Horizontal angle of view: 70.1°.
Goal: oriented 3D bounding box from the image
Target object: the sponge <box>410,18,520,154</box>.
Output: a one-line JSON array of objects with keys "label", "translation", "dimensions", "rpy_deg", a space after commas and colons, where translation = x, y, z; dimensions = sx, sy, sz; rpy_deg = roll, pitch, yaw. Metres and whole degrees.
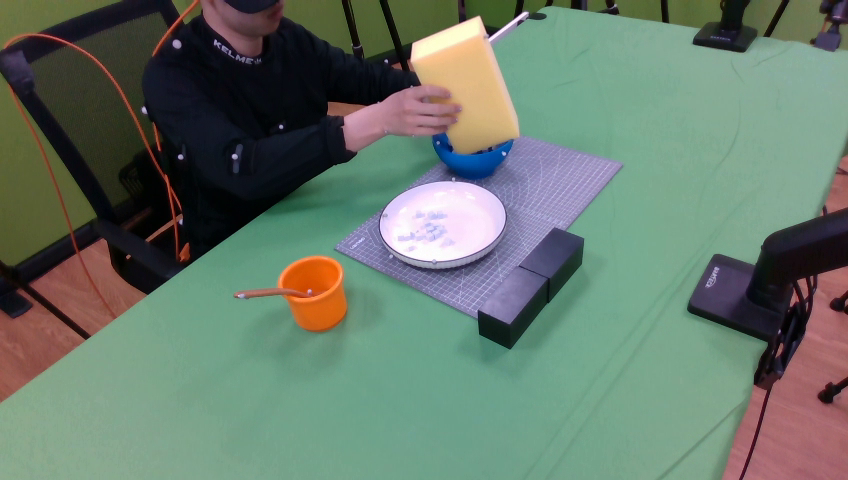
[{"label": "sponge", "translation": [0.073, -0.248, 1.015], "dimensions": [0.118, 0.208, 0.060], "rpy_deg": [-15, 44, 18]}]

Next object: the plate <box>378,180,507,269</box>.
[{"label": "plate", "translation": [0.031, -0.022, 0.974], "dimensions": [0.209, 0.038, 0.208], "rpy_deg": [-4, 40, 4]}]

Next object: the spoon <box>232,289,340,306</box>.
[{"label": "spoon", "translation": [-0.181, 0.074, 0.811], "dimensions": [0.041, 0.195, 0.021], "rpy_deg": [16, 90, 31]}]

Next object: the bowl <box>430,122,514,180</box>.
[{"label": "bowl", "translation": [0.090, -0.162, 1.098], "dimensions": [0.151, 0.077, 0.150], "rpy_deg": [-4, 40, 4]}]
